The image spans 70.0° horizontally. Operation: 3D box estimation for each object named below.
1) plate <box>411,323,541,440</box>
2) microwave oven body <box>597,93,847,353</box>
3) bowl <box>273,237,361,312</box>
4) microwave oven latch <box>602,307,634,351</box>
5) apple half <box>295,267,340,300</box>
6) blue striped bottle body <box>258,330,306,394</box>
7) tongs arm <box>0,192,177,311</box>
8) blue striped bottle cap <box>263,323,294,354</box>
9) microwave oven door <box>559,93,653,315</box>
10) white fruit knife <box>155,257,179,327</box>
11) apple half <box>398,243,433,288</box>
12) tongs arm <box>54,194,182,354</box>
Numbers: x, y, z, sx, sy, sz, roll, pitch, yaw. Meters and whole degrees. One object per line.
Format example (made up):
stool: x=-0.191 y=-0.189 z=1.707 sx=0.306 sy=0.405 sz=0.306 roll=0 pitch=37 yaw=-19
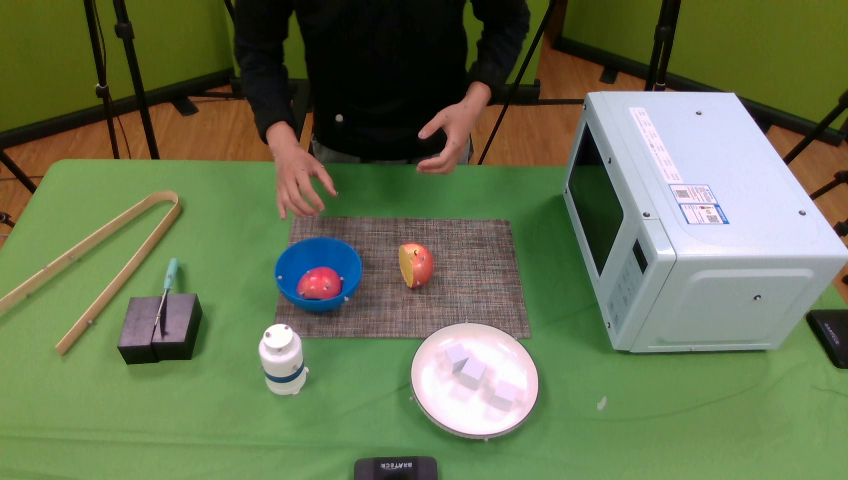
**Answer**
plate: x=0.082 y=0.228 z=0.976 sx=0.208 sy=0.039 sz=0.206 roll=2 pitch=45 yaw=-2
microwave oven body: x=0.475 y=-0.041 z=1.109 sx=0.326 sy=0.261 sz=0.438 roll=-1 pitch=45 yaw=-4
bowl: x=-0.186 y=0.074 z=1.069 sx=0.151 sy=0.077 sz=0.150 roll=3 pitch=46 yaw=-3
microwave oven latch: x=0.332 y=0.153 z=1.044 sx=0.030 sy=0.029 sz=0.078 roll=-1 pitch=45 yaw=-4
apple half: x=-0.187 y=0.070 z=1.067 sx=0.081 sy=0.033 sz=0.081 roll=3 pitch=47 yaw=-3
blue striped bottle body: x=-0.220 y=0.182 z=0.937 sx=0.063 sy=0.121 sz=0.062 roll=2 pitch=46 yaw=-2
tongs arm: x=-0.618 y=0.019 z=1.123 sx=0.050 sy=0.026 sz=0.384 roll=23 pitch=47 yaw=17
blue striped bottle cap: x=-0.217 y=0.146 z=0.900 sx=0.044 sy=0.021 sz=0.044 roll=1 pitch=46 yaw=-1
microwave oven door: x=0.327 y=-0.074 z=1.123 sx=0.039 sy=0.245 sz=0.353 roll=-1 pitch=46 yaw=-5
white fruit knife: x=-0.440 y=0.085 z=1.037 sx=0.016 sy=0.027 sz=0.206 roll=10 pitch=26 yaw=-19
apple half: x=-0.012 y=0.046 z=1.115 sx=0.053 sy=0.075 sz=0.080 roll=-11 pitch=44 yaw=-20
tongs arm: x=-0.543 y=0.048 z=1.107 sx=0.028 sy=0.028 sz=0.385 roll=11 pitch=45 yaw=10
